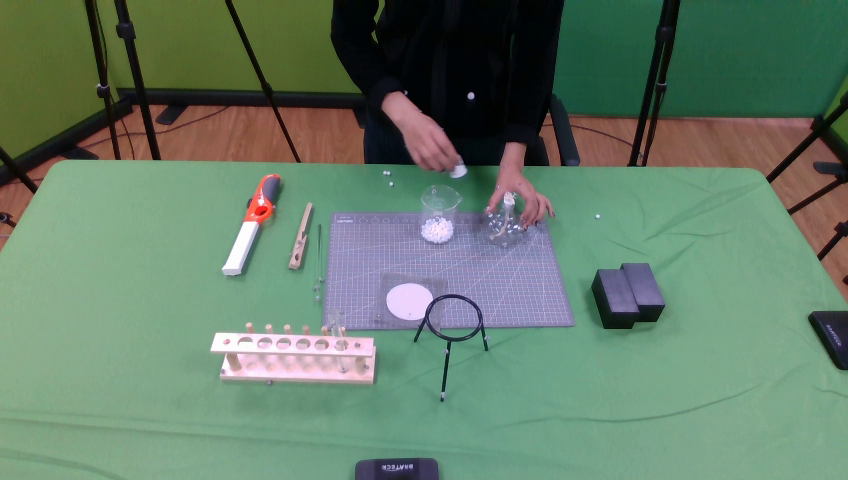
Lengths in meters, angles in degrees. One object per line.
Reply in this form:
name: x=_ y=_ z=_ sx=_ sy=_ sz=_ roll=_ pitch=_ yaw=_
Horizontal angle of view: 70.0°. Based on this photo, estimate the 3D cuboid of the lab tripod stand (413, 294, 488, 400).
lab tripod stand: x=0.044 y=0.159 z=0.972 sx=0.148 sy=0.132 sz=0.147 roll=2 pitch=44 yaw=-2

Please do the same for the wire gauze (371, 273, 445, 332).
wire gauze: x=-0.028 y=0.108 z=1.100 sx=0.125 sy=0.011 sz=0.121 roll=7 pitch=45 yaw=4

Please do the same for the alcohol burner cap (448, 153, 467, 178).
alcohol burner cap: x=0.063 y=-0.147 z=1.178 sx=0.034 sy=0.048 sz=0.033 roll=-14 pitch=42 yaw=13

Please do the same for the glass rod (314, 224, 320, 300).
glass rod: x=-0.204 y=0.038 z=1.156 sx=0.008 sy=0.008 sz=0.198 roll=-2 pitch=44 yaw=-6

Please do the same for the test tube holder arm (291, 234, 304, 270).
test tube holder arm: x=-0.243 y=0.021 z=1.164 sx=0.010 sy=0.015 sz=0.087 roll=29 pitch=39 yaw=-26

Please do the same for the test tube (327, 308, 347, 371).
test tube: x=-0.132 y=0.155 z=0.926 sx=0.017 sy=0.151 sz=0.017 roll=0 pitch=45 yaw=0

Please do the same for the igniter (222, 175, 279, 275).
igniter: x=-0.341 y=-0.039 z=1.206 sx=0.057 sy=0.025 sz=0.275 roll=-1 pitch=45 yaw=9

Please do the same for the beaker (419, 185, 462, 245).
beaker: x=0.029 y=-0.047 z=1.191 sx=0.084 sy=0.101 sz=0.073 roll=-5 pitch=47 yaw=-10

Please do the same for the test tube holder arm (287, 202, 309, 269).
test tube holder arm: x=-0.247 y=-0.013 z=1.193 sx=0.013 sy=0.015 sz=0.177 roll=29 pitch=39 yaw=-26

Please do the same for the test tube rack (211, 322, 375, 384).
test tube rack: x=-0.203 y=0.176 z=0.969 sx=0.242 sy=0.085 sz=0.066 roll=3 pitch=46 yaw=-2

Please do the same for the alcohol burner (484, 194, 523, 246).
alcohol burner: x=0.159 y=-0.046 z=1.190 sx=0.078 sy=0.119 sz=0.077 roll=4 pitch=46 yaw=-4
